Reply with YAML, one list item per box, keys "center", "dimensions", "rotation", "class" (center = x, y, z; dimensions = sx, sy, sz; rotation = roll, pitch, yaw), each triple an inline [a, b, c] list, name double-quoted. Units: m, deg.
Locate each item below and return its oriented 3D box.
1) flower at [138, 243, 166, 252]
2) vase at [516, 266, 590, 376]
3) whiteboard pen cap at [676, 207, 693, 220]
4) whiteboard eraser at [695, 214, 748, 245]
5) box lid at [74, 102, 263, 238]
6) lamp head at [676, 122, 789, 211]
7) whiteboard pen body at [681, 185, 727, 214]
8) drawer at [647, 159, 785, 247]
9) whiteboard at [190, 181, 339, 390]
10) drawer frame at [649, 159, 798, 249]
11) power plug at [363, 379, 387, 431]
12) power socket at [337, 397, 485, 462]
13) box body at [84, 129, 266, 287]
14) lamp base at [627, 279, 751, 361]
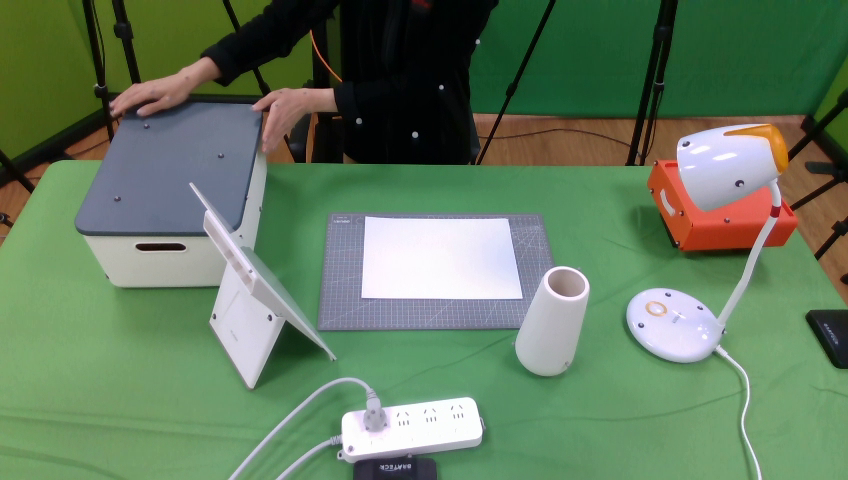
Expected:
- center: [-0.442, -0.044, 1.193]
  dimensions: [0.044, 0.038, 0.361]
  rotation: [45, 48, -6]
  class: "flower"
- center: [0.208, 0.132, 0.964]
  dimensions: [0.098, 0.201, 0.097]
  rotation: [3, 46, -3]
  class: "vase"
- center: [0.524, -0.053, 1.216]
  dimensions: [0.033, 0.018, 0.018]
  rotation: [-28, 54, -23]
  class: "whiteboard pen cap"
- center: [0.592, -0.019, 1.209]
  dimensions: [0.113, 0.042, 0.055]
  rotation: [11, 27, -36]
  class: "whiteboard eraser"
- center: [-0.443, -0.138, 1.094]
  dimensions: [0.263, 0.015, 0.369]
  rotation: [0, 46, -5]
  class: "box lid"
- center: [0.423, -0.104, 0.819]
  dimensions: [0.122, 0.113, 0.112]
  rotation: [-13, 33, 40]
  class: "lamp head"
- center: [0.571, -0.081, 1.238]
  dimensions: [0.141, 0.017, 0.017]
  rotation: [-27, 54, -23]
  class: "whiteboard pen body"
- center: [0.582, -0.079, 1.214]
  dimensions: [0.212, 0.073, 0.193]
  rotation: [-1, 45, -5]
  class: "drawer"
- center: [-0.292, 0.096, 0.929]
  dimensions: [0.144, 0.307, 0.216]
  rotation: [-37, 57, -10]
  class: "whiteboard"
- center: [0.588, -0.077, 1.219]
  dimensions: [0.214, 0.083, 0.200]
  rotation: [-2, 45, -5]
  class: "drawer frame"
- center: [-0.072, 0.252, 0.910]
  dimensions: [0.035, 0.053, 0.072]
  rotation: [3, 45, -1]
  class: "power plug"
- center: [-0.018, 0.285, 0.915]
  dimensions: [0.227, 0.033, 0.071]
  rotation: [-5, 46, -8]
  class: "power socket"
- center: [-0.447, -0.088, 1.150]
  dimensions: [0.254, 0.161, 0.361]
  rotation: [-1, 46, -5]
  class: "box body"
- center: [0.459, 0.100, 1.027]
  dimensions: [0.178, 0.181, 0.160]
  rotation: [27, 51, 17]
  class: "lamp base"
